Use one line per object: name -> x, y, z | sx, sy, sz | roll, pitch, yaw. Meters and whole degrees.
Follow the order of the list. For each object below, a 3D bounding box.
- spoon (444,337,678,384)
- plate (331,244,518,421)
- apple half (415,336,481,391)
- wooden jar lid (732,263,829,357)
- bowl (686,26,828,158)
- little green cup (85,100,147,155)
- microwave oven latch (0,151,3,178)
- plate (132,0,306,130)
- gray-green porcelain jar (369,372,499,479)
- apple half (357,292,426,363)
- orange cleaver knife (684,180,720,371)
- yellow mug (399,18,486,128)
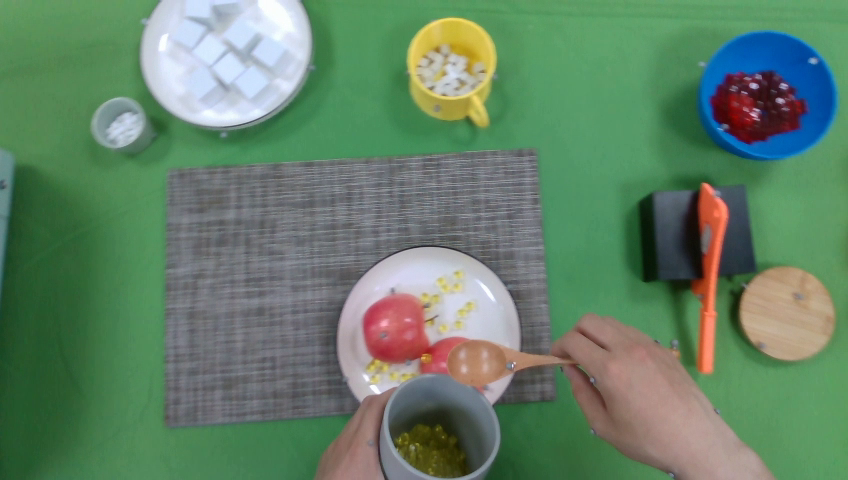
spoon -> 0.111, 0.100, 0.513 | 0.193, 0.022, 0.041 | -6, 77, 20
plate -> 0.000, 0.109, 0.688 | 0.209, 0.038, 0.208 | 0, 82, 0
apple half -> 0.027, 0.146, 0.676 | 0.081, 0.033, 0.081 | 0, 78, 1
wooden jar lid -> 0.410, 0.081, 0.702 | 0.108, 0.021, 0.108 | 0, 82, 2
bowl -> 0.372, -0.160, 0.707 | 0.151, 0.077, 0.151 | 0, 82, 1
little green cup -> -0.367, -0.132, 0.728 | 0.061, 0.039, 0.061 | 0, 82, -1
microwave oven latch -> -0.512, -0.070, 0.703 | 0.030, 0.029, 0.079 | 3, 82, 0
plate -> -0.246, -0.231, 0.743 | 0.208, 0.039, 0.207 | 0, 82, 1
gray-green porcelain jar -> 0.005, 0.203, 0.571 | 0.106, 0.127, 0.105 | 7, 43, -7
apple half -> -0.038, 0.098, 0.675 | 0.074, 0.053, 0.080 | -7, 83, 2
orange cleaver knife -> 0.306, 0.041, 0.677 | 0.012, 0.077, 0.212 | -3, 106, 3
yellow mug -> 0.029, -0.190, 0.721 | 0.100, 0.064, 0.130 | -32, 84, -4
